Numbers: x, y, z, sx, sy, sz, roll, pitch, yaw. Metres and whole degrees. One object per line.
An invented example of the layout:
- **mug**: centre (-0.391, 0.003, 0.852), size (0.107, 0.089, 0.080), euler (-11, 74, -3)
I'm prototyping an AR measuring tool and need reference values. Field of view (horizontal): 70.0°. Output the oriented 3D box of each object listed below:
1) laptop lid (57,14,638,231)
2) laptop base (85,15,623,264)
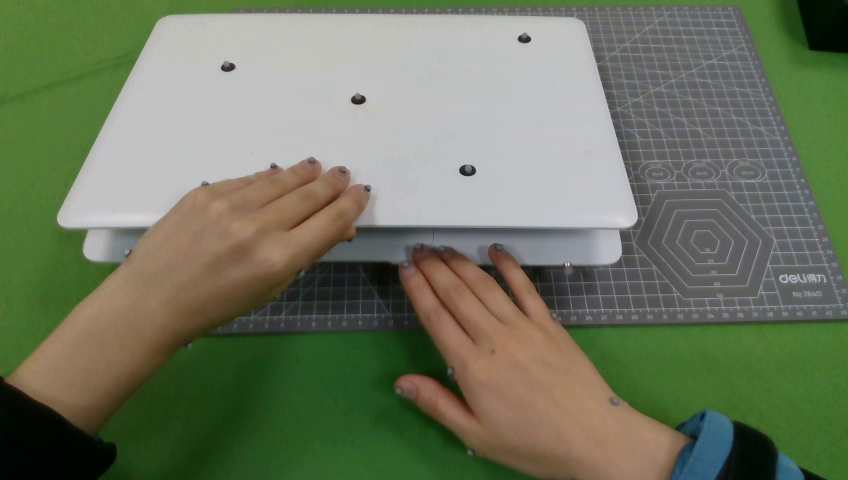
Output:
- **laptop lid**: centre (-0.045, -0.096, 0.430), size (0.357, 0.013, 0.239), euler (1, 51, 2)
- **laptop base**: centre (-0.045, -0.082, 0.454), size (0.354, 0.023, 0.233), euler (0, 61, 0)
